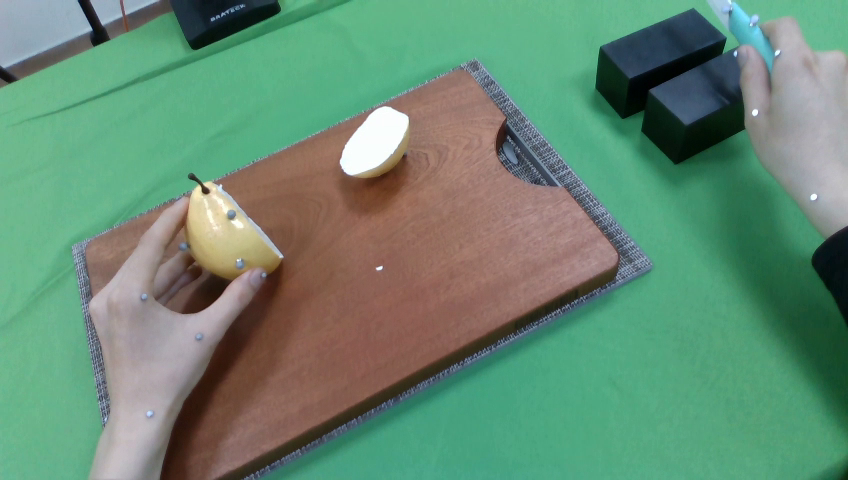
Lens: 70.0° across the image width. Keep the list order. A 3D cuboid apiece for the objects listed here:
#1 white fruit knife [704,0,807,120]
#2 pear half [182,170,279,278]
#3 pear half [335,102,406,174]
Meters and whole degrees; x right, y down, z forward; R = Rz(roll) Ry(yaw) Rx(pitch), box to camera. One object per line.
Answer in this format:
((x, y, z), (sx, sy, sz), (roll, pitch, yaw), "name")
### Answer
((0.247, -0.183, 0.491), (0.016, 0.027, 0.205), (-18, 63, -3), "white fruit knife")
((-0.163, -0.011, 0.471), (0.056, 0.111, 0.075), (-44, 53, -15), "pear half")
((-0.042, -0.087, 0.542), (0.070, 0.031, 0.087), (-12, 42, 21), "pear half")
